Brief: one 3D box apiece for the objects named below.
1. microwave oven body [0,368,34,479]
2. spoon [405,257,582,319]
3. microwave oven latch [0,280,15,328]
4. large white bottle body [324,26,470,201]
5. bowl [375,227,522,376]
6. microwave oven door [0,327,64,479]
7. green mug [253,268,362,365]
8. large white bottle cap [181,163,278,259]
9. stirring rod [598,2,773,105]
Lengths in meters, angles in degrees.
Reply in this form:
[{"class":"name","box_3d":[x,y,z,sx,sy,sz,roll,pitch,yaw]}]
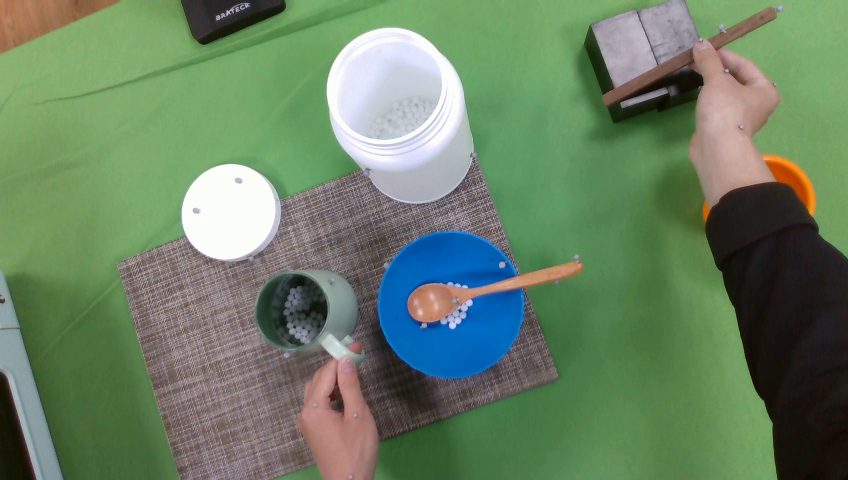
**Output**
[{"class":"microwave oven body","box_3d":[-0.599,0.277,0.607,0.326,0.261,0.440,-22,83,3]},{"class":"spoon","box_3d":[0.066,0.047,0.615,0.193,0.022,0.041,-16,85,29]},{"class":"microwave oven latch","box_3d":[-0.514,0.069,0.714,0.030,0.029,0.079,-22,84,3]},{"class":"large white bottle body","box_3d":[-0.023,-0.122,0.615,0.130,0.185,0.130,-1,81,8]},{"class":"bowl","box_3d":[0.028,0.065,0.647,0.151,0.077,0.151,-1,85,7]},{"class":"microwave oven door","box_3d":[-0.449,0.260,0.587,0.039,0.244,0.354,-22,83,4]},{"class":"green mug","box_3d":[-0.115,0.085,0.648,0.125,0.105,0.092,43,90,8]},{"class":"large white bottle cap","box_3d":[-0.230,-0.034,0.715,0.115,0.018,0.114,-1,84,6]},{"class":"stirring rod","box_3d":[0.259,-0.185,0.609,0.176,0.006,0.014,-27,67,23]}]
